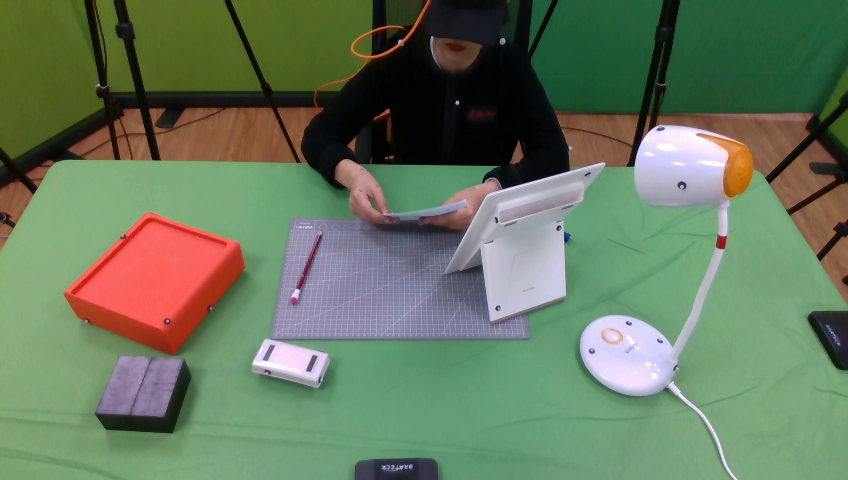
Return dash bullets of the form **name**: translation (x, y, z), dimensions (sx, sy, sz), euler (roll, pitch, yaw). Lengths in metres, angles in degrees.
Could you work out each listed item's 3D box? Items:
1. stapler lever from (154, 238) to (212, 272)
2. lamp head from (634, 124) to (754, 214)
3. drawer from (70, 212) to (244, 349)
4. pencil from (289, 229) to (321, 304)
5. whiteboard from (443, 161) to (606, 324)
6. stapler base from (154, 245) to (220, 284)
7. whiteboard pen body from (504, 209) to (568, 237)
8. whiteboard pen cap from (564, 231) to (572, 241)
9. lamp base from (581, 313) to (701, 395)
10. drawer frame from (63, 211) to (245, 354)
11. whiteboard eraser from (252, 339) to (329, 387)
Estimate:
- **stapler lever**: translation (-0.434, 0.022, 1.091), dimensions (0.118, 0.040, 0.027), euler (23, 46, 15)
- **lamp head**: translation (0.351, -0.089, 0.776), dimensions (0.112, 0.113, 0.122), euler (-30, 30, -28)
- **drawer**: translation (-0.458, 0.065, 1.060), dimensions (0.194, 0.073, 0.211), euler (18, 48, 12)
- **pencil**: translation (-0.221, 0.045, 1.141), dimensions (0.012, 0.012, 0.193), euler (8, 45, 4)
- **whiteboard**: translation (0.185, 0.026, 1.028), dimensions (0.217, 0.306, 0.143), euler (-15, 68, -18)
- **stapler base**: translation (-0.434, 0.039, 1.107), dimensions (0.130, 0.024, 0.041), euler (21, 45, 17)
- **whiteboard pen body**: translation (0.230, -0.034, 1.248), dimensions (0.140, 0.017, 0.017), euler (22, 49, 15)
- **whiteboard pen cap**: translation (0.282, -0.012, 1.230), dimensions (0.033, 0.018, 0.018), euler (24, 49, 15)
- **lamp base**: translation (0.361, 0.144, 0.973), dimensions (0.178, 0.181, 0.160), euler (34, 53, 23)
- **drawer frame**: translation (-0.459, 0.067, 1.056), dimensions (0.201, 0.083, 0.212), euler (17, 48, 11)
- **whiteboard eraser**: translation (-0.215, 0.199, 0.976), dimensions (0.112, 0.042, 0.055), euler (12, 45, 7)
